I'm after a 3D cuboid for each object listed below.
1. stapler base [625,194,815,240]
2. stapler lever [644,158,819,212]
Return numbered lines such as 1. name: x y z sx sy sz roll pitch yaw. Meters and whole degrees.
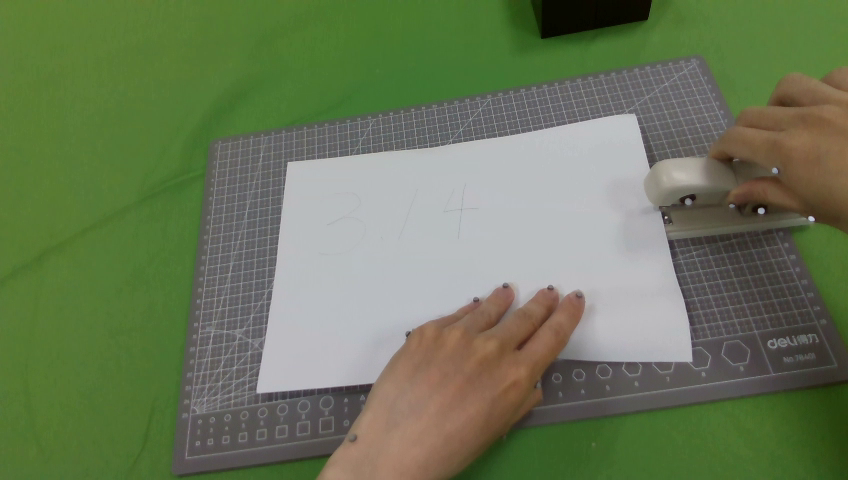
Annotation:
1. stapler base: 0.216 -0.027 0.441 0.130 0.024 0.041 -5 57 3
2. stapler lever: 0.214 -0.041 0.422 0.118 0.040 0.026 -6 57 4
